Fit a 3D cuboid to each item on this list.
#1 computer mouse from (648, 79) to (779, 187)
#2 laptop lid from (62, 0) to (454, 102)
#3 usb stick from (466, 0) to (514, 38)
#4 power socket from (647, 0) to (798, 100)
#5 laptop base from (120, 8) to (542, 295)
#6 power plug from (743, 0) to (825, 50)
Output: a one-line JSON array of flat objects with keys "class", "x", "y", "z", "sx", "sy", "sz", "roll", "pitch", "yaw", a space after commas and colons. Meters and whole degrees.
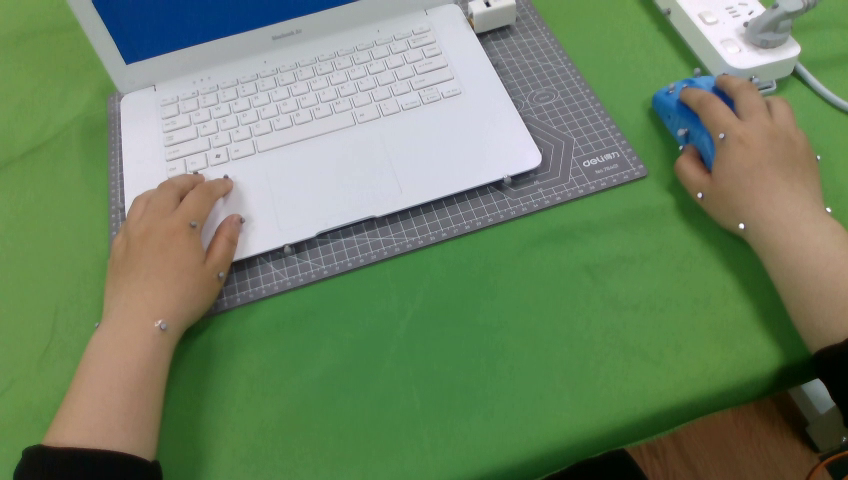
[{"class": "computer mouse", "x": 0.241, "y": -0.097, "z": 0.510, "sx": 0.063, "sy": 0.041, "sz": 0.116, "roll": -17, "pitch": 52, "yaw": -2}, {"class": "laptop lid", "x": -0.154, "y": -0.271, "z": 0.543, "sx": 0.357, "sy": 0.244, "sz": 0.013, "roll": -19, "pitch": 43, "yaw": -4}, {"class": "usb stick", "x": 0.060, "y": -0.222, "z": 0.611, "sx": 0.059, "sy": 0.027, "sz": 0.021, "roll": -18, "pitch": 57, "yaw": -1}, {"class": "power socket", "x": 0.276, "y": -0.226, "z": 0.594, "sx": 0.072, "sy": 0.033, "sz": 0.224, "roll": -15, "pitch": 56, "yaw": -3}, {"class": "laptop base", "x": -0.098, "y": -0.096, "z": 0.560, "sx": 0.354, "sy": 0.023, "sz": 0.233, "roll": -18, "pitch": 59, "yaw": -5}, {"class": "power plug", "x": 0.322, "y": -0.186, "z": 0.536, "sx": 0.072, "sy": 0.053, "sz": 0.035, "roll": -6, "pitch": 57, "yaw": 4}]
